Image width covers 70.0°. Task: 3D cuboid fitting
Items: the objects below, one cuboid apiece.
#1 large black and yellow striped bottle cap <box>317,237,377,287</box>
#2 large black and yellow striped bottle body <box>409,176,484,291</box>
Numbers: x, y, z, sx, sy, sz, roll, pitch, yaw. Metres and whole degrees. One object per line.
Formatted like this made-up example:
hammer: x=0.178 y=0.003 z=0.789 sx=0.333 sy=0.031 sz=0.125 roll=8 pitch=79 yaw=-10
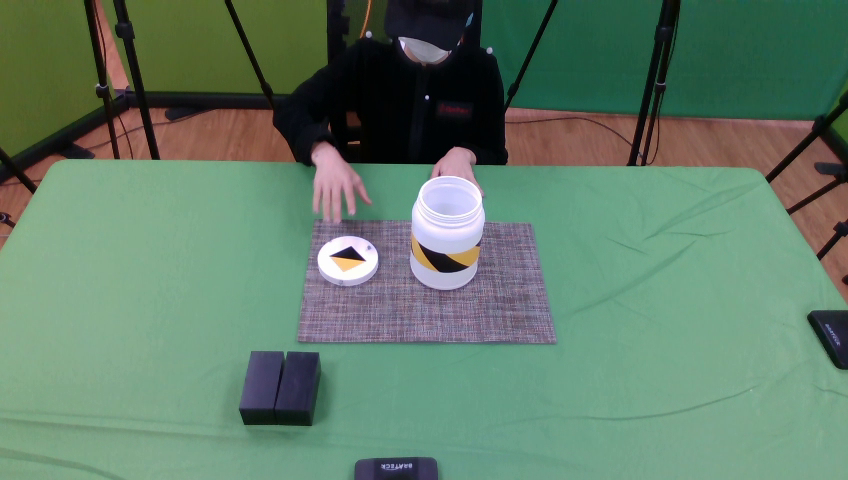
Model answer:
large black and yellow striped bottle cap: x=-0.146 y=0.040 z=1.148 sx=0.115 sy=0.019 sz=0.114 roll=2 pitch=47 yaw=-2
large black and yellow striped bottle body: x=0.040 y=-0.012 z=1.095 sx=0.131 sy=0.185 sz=0.130 roll=2 pitch=46 yaw=-2
